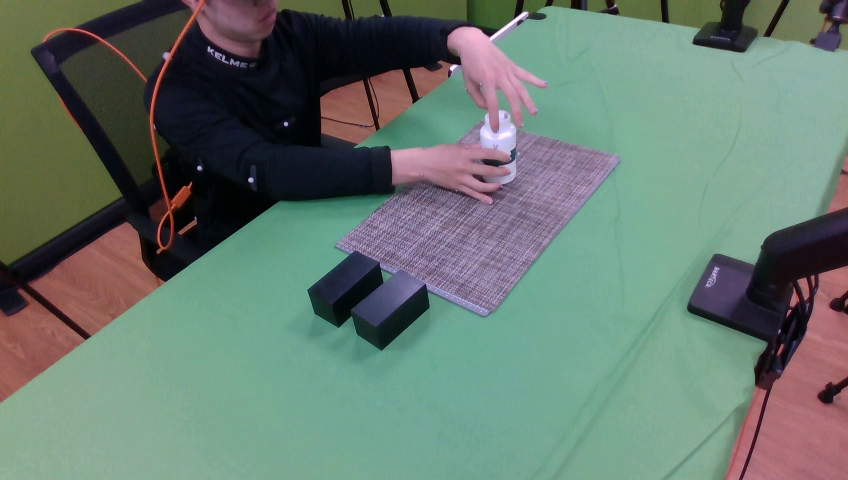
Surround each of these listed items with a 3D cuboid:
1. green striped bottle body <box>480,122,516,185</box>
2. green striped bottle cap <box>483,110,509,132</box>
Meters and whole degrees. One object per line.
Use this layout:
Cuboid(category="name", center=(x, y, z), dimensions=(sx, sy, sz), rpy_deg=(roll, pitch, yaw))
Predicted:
Cuboid(category="green striped bottle body", center=(0.130, -0.162, 1.057), dimensions=(0.063, 0.120, 0.063), rpy_deg=(-4, 40, 4))
Cuboid(category="green striped bottle cap", center=(0.122, -0.202, 1.023), dimensions=(0.044, 0.020, 0.044), rpy_deg=(-2, 39, 2))
